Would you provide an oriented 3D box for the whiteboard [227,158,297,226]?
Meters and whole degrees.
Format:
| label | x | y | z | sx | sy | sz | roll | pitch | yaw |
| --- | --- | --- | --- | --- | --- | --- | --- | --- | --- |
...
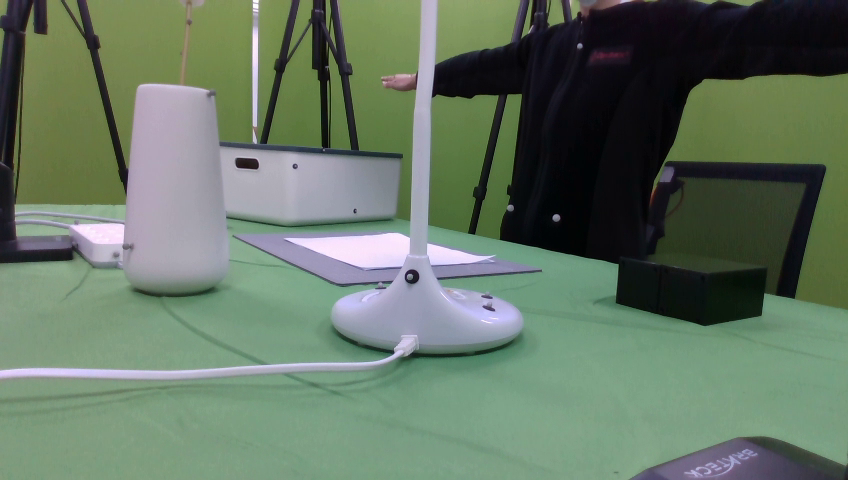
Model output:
| label | x | y | z | sx | sy | sz | roll | pitch | yaw |
| --- | --- | --- | --- | --- | --- | --- | --- | --- | --- |
| whiteboard | -0.265 | -0.116 | 1.372 | 0.216 | 0.143 | 0.307 | 4 | 7 | 35 |

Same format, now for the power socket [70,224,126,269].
| label | x | y | z | sx | sy | sz | roll | pitch | yaw |
| --- | --- | --- | --- | --- | --- | --- | --- | --- | --- |
| power socket | -0.409 | 0.004 | 0.792 | 0.072 | 0.032 | 0.225 | -2 | 8 | -37 |

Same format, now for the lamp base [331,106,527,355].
| label | x | y | z | sx | sy | sz | roll | pitch | yaw |
| --- | --- | --- | --- | --- | --- | --- | --- | --- | --- |
| lamp base | 0.006 | -0.012 | 0.478 | 0.161 | 0.180 | 0.179 | 2 | 10 | 2 |

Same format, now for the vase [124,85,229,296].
| label | x | y | z | sx | sy | sz | roll | pitch | yaw |
| --- | --- | --- | --- | --- | --- | --- | --- | --- | --- |
| vase | -0.244 | -0.047 | 0.598 | 0.098 | 0.200 | 0.098 | 3 | 8 | 0 |

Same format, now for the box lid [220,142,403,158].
| label | x | y | z | sx | sy | sz | roll | pitch | yaw |
| --- | --- | --- | --- | --- | --- | --- | --- | --- | --- |
| box lid | -0.252 | -0.202 | 1.368 | 0.262 | 0.015 | 0.373 | 9 | 9 | 36 |

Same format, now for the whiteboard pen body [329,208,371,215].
| label | x | y | z | sx | sy | sz | roll | pitch | yaw |
| --- | --- | --- | --- | --- | --- | --- | --- | --- | --- |
| whiteboard pen body | -0.189 | -0.073 | 1.521 | 0.140 | 0.017 | 0.017 | 3 | 6 | 37 |

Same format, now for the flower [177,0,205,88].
| label | x | y | z | sx | sy | sz | roll | pitch | yaw |
| --- | --- | --- | --- | --- | --- | --- | --- | --- | --- |
| flower | -0.243 | -0.131 | 0.609 | 0.044 | 0.361 | 0.038 | -5 | -12 | 12 |

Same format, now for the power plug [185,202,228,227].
| label | x | y | z | sx | sy | sz | roll | pitch | yaw |
| --- | --- | --- | --- | --- | --- | --- | --- | --- | --- |
| power plug | -0.408 | -0.044 | 1.151 | 0.072 | 0.052 | 0.035 | -17 | 5 | 15 |

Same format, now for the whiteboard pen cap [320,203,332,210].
| label | x | y | z | sx | sy | sz | roll | pitch | yaw |
| --- | --- | --- | --- | --- | --- | --- | --- | --- | --- |
| whiteboard pen cap | -0.247 | -0.084 | 1.531 | 0.033 | 0.018 | 0.018 | 10 | 11 | 38 |

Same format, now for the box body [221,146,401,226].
| label | x | y | z | sx | sy | sz | roll | pitch | yaw |
| --- | --- | --- | --- | --- | --- | --- | --- | --- | --- |
| box body | -0.254 | -0.129 | 1.379 | 0.253 | 0.160 | 0.366 | 8 | 9 | 36 |
